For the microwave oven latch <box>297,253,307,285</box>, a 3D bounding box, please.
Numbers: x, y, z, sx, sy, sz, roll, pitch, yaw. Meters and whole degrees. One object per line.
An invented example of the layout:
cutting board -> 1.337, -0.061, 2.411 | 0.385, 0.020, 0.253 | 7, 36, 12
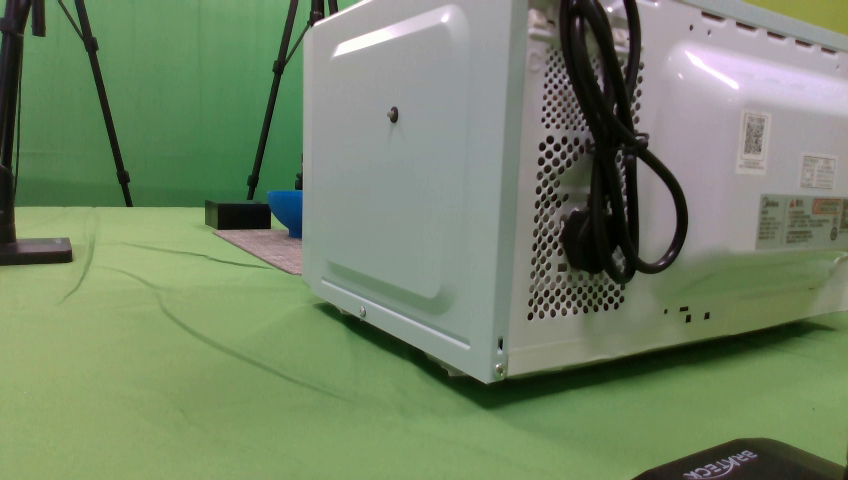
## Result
microwave oven latch -> -0.082, 0.027, 0.582 | 0.079, 0.029, 0.030 | -1, 7, -32

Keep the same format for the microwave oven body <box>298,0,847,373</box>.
microwave oven body -> 0.151, -0.055, 0.543 | 0.444, 0.260, 0.324 | -1, 7, -33

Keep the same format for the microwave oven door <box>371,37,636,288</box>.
microwave oven door -> 0.109, -0.080, 0.687 | 0.358, 0.243, 0.039 | -2, 9, -33

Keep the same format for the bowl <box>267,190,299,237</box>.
bowl -> -0.202, -0.046, 1.070 | 0.151, 0.077, 0.151 | 3, 7, 0
